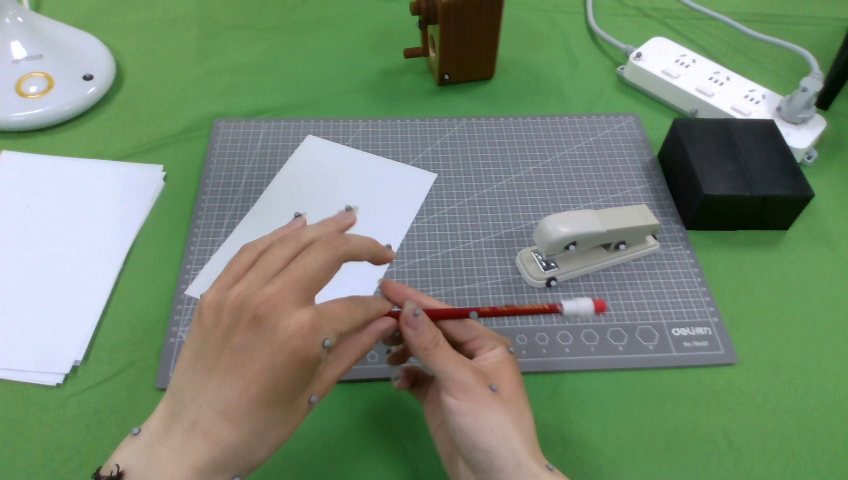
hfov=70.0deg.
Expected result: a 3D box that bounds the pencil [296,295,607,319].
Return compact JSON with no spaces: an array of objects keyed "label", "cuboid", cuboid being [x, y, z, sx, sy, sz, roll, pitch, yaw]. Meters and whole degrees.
[{"label":"pencil","cuboid":[0.019,0.043,0.377,0.194,0.012,0.012,-1,53,-6]}]

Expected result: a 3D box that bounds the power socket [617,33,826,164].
[{"label":"power socket","cuboid":[0.321,-0.159,0.659,0.225,0.033,0.072,39,60,24]}]

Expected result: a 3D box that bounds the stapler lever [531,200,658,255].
[{"label":"stapler lever","cuboid":[0.146,-0.015,0.512,0.118,0.040,0.026,-15,56,-15]}]

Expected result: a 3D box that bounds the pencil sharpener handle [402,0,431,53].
[{"label":"pencil sharpener handle","cuboid":[-0.010,-0.231,0.634,0.031,0.068,0.035,-11,32,-10]}]

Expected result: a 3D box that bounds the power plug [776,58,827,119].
[{"label":"power plug","cuboid":[0.394,-0.147,0.624,0.072,0.053,0.035,-29,59,-21]}]

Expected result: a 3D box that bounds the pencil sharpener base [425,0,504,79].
[{"label":"pencil sharpener base","cuboid":[0.038,-0.236,0.657,0.077,0.108,0.060,-11,54,-10]}]

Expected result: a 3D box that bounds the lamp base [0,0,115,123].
[{"label":"lamp base","cuboid":[-0.419,-0.235,0.587,0.161,0.182,0.177,-28,56,-22]}]

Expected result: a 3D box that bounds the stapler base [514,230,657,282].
[{"label":"stapler base","cuboid":[0.144,0.001,0.531,0.131,0.024,0.041,-15,56,-15]}]
